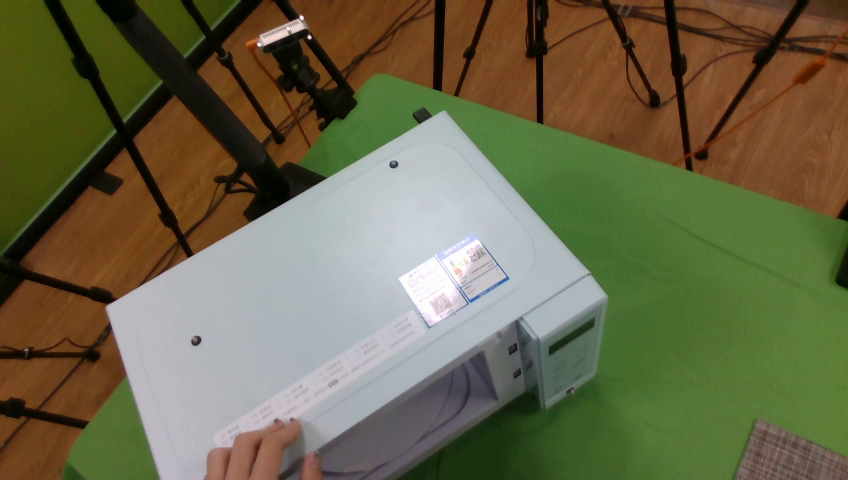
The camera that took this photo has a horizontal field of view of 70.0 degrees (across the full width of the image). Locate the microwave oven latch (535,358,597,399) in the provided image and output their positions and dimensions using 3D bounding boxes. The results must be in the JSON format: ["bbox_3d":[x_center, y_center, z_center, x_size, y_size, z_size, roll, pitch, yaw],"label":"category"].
[{"bbox_3d":[0.174,0.162,0.745,0.079,0.030,0.030,-30,59,-5],"label":"microwave oven latch"}]

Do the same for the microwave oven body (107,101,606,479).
[{"bbox_3d":[-0.069,0.105,0.716,0.442,0.263,0.322,-32,59,-6],"label":"microwave oven body"}]
